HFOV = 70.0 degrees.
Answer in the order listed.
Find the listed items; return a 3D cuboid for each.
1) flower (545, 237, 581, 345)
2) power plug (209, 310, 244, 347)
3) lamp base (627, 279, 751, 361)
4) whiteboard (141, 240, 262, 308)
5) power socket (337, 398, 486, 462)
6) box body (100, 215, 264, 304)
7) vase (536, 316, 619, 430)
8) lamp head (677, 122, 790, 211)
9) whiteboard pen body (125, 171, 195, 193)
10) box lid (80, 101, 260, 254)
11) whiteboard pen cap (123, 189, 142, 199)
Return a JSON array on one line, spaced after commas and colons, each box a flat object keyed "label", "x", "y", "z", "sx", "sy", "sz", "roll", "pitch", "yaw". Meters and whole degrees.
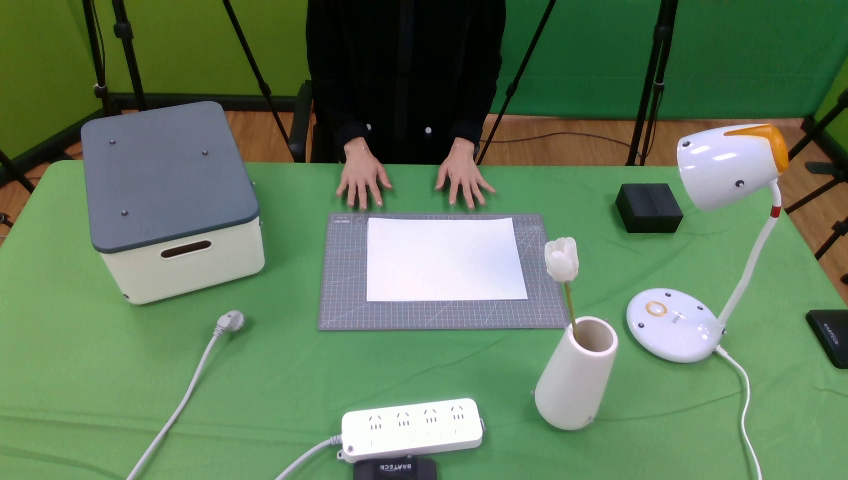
[{"label": "flower", "x": 0.213, "y": 0.137, "z": 0.846, "sx": 0.038, "sy": 0.364, "sz": 0.044, "roll": 21, "pitch": 55, "yaw": 39}, {"label": "power plug", "x": -0.334, "y": 0.148, "z": 1.019, "sx": 0.035, "sy": 0.053, "sz": 0.072, "roll": 36, "pitch": 75, "yaw": 23}, {"label": "lamp base", "x": 0.460, "y": 0.100, "z": 1.027, "sx": 0.178, "sy": 0.181, "sz": 0.160, "roll": 27, "pitch": 51, "yaw": 17}, {"label": "whiteboard", "x": -0.464, "y": -0.059, "z": 1.137, "sx": 0.217, "sy": 0.144, "sz": 0.303, "roll": -19, "pitch": 51, "yaw": -17}, {"label": "power socket", "x": -0.017, "y": 0.286, "z": 0.914, "sx": 0.227, "sy": 0.033, "sz": 0.071, "roll": -4, "pitch": 46, "yaw": -8}, {"label": "box body", "x": -0.465, "y": -0.077, "z": 1.137, "sx": 0.254, "sy": 0.161, "sz": 0.361, "roll": -16, "pitch": 50, "yaw": -19}, {"label": "vase", "x": 0.229, "y": 0.200, "z": 0.901, "sx": 0.098, "sy": 0.201, "sz": 0.097, "roll": 3, "pitch": 46, "yaw": -3}, {"label": "lamp head", "x": 0.423, "y": -0.104, "z": 0.819, "sx": 0.122, "sy": 0.113, "sz": 0.112, "roll": -13, "pitch": 33, "yaw": 40}, {"label": "whiteboard pen body", "x": -0.553, "y": -0.119, "z": 1.270, "sx": 0.141, "sy": 0.017, "sz": 0.017, "roll": -18, "pitch": 50, "yaw": -15}, {"label": "box lid", "x": -0.461, "y": -0.127, "z": 1.082, "sx": 0.264, "sy": 0.015, "sz": 0.369, "roll": -15, "pitch": 49, "yaw": -19}, {"label": "whiteboard pen cap", "x": -0.591, "y": -0.093, "z": 1.231, "sx": 0.033, "sy": 0.018, "sz": 0.018, "roll": -13, "pitch": 49, "yaw": -18}]
